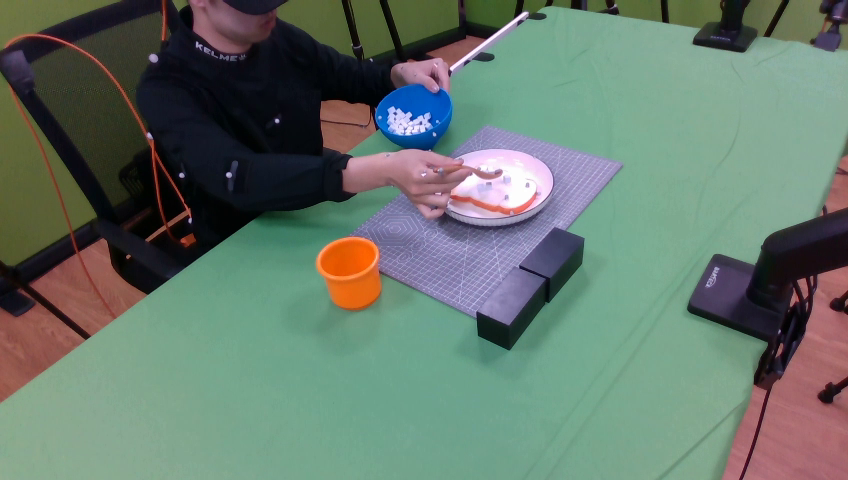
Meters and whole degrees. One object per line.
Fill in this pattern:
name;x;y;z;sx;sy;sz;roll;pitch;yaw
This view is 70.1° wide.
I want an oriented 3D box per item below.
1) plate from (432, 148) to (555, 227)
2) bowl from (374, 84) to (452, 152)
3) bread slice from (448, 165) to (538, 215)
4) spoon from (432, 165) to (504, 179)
plate;0.119;-0.087;1.037;0.209;0.038;0.208;-4;40;4
bowl;-0.014;-0.223;1.167;0.151;0.077;0.150;-6;51;8
bread slice;0.126;-0.085;1.038;0.133;0.018;0.107;16;45;27
spoon;0.068;-0.109;0.947;0.041;0.021;0.195;13;9;34
